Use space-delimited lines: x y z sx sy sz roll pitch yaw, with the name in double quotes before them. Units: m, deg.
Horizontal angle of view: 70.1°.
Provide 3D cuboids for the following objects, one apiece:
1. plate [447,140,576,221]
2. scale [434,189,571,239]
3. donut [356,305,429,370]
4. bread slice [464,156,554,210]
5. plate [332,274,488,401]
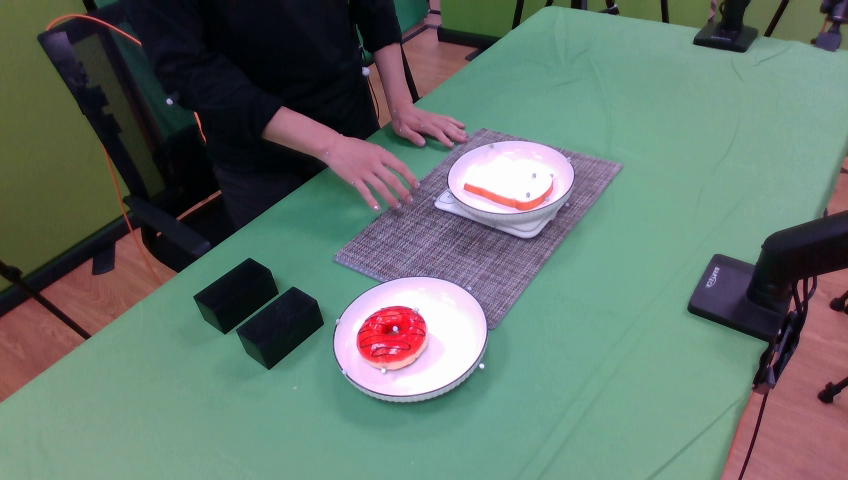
"plate" 0.143 -0.094 0.995 0.209 0.038 0.208 -4 41 4
"scale" 0.132 -0.075 1.025 0.199 0.032 0.149 22 48 30
"donut" -0.041 0.127 0.798 0.099 0.048 0.098 -7 40 7
"bread slice" 0.148 -0.095 0.998 0.130 0.019 0.105 25 51 32
"plate" -0.017 0.130 0.808 0.207 0.039 0.206 -4 41 4
